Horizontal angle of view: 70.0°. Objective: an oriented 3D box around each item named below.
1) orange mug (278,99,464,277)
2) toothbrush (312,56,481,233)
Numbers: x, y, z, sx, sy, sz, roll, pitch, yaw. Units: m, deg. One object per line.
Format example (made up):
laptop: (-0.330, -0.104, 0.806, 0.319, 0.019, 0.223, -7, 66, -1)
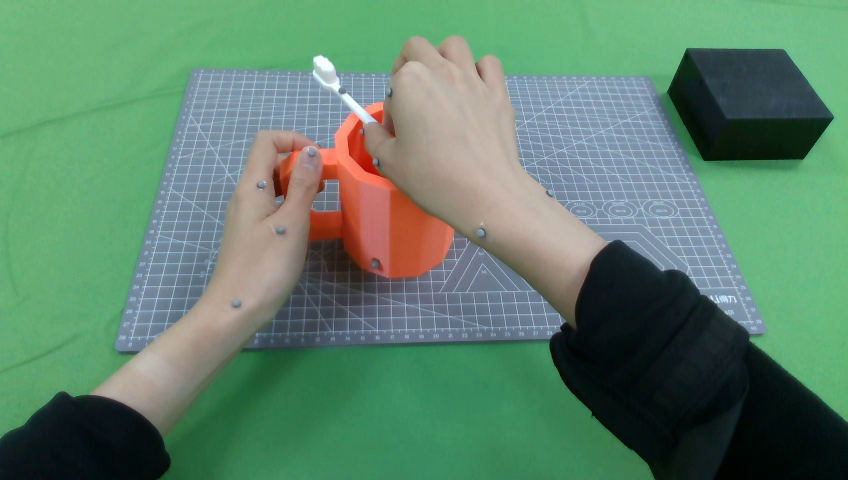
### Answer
orange mug: (-0.037, -0.035, 0.428, 0.126, 0.101, 0.082, -2, 52, -12)
toothbrush: (-0.023, -0.066, 0.387, 0.014, 0.017, 0.180, -27, 59, -27)
